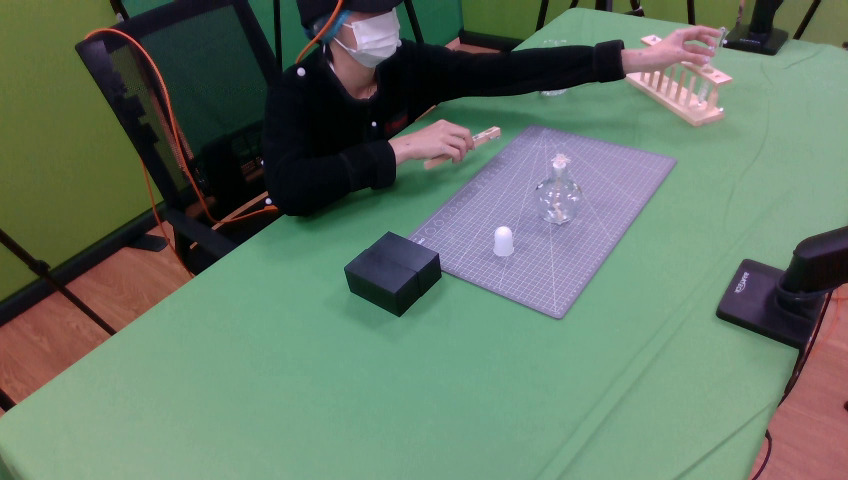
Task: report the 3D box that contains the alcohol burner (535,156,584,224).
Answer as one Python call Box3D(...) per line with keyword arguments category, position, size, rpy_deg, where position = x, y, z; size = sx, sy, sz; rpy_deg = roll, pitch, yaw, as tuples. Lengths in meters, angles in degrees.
Box3D(category="alcohol burner", position=(0.217, -0.085, 0.967), size=(0.078, 0.119, 0.077), rpy_deg=(-3, 41, 3))

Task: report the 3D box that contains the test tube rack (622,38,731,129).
Box3D(category="test tube rack", position=(0.506, -0.325, 1.234), size=(0.067, 0.085, 0.240), rpy_deg=(-18, 41, -11))

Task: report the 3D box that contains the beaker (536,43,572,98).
Box3D(category="beaker", position=(0.281, -0.368, 1.311), size=(0.074, 0.101, 0.084), rpy_deg=(4, 41, 14))

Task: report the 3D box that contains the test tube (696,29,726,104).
Box3D(category="test tube", position=(0.544, -0.326, 1.150), size=(0.017, 0.151, 0.017), rpy_deg=(0, 42, 1))

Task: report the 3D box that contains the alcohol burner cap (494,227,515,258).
Box3D(category="alcohol burner cap", position=(0.124, 0.001, 0.936), size=(0.034, 0.048, 0.033), rpy_deg=(-4, 40, 4))

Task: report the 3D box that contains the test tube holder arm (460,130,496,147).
Box3D(category="test tube holder arm", position=(0.103, -0.185, 1.130), size=(0.088, 0.015, 0.010), rpy_deg=(-29, 25, -30))

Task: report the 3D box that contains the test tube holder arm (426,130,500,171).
Box3D(category="test tube holder arm", position=(0.073, -0.165, 1.102), size=(0.179, 0.015, 0.013), rpy_deg=(-30, 25, -31))
